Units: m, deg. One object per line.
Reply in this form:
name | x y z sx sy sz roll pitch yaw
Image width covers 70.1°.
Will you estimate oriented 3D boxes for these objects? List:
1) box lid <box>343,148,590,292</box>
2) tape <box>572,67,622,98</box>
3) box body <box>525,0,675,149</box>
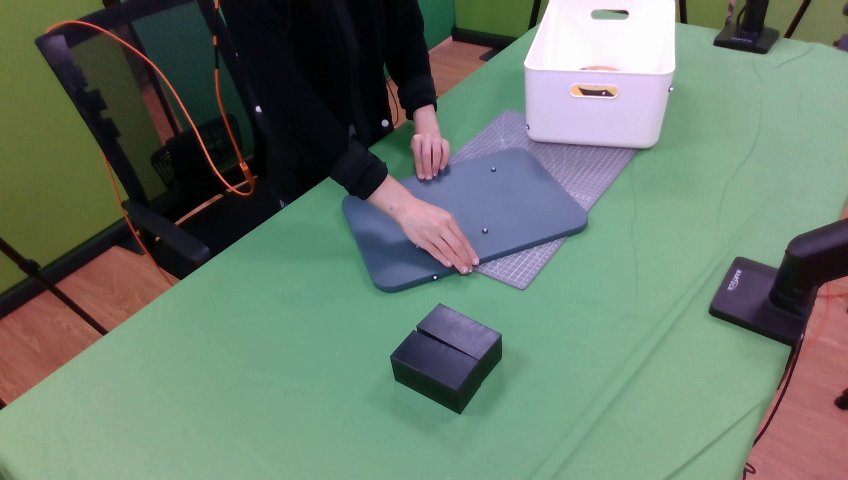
box lid | 0.062 -0.047 1.026 0.373 0.015 0.261 -17 42 -12
tape | 0.359 -0.311 1.251 0.117 0.053 0.116 -4 41 4
box body | 0.356 -0.342 1.212 0.253 0.161 0.363 7 42 17
